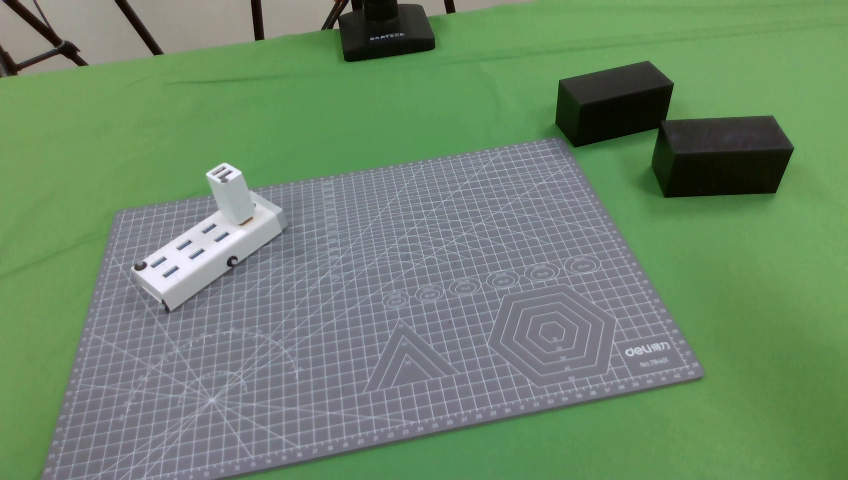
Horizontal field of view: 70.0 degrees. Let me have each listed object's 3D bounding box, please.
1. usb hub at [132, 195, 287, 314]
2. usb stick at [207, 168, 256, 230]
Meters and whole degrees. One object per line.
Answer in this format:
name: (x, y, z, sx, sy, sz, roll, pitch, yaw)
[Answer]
usb hub: (-0.184, 0.009, 0.527, 0.049, 0.025, 0.125, 28, 53, 31)
usb stick: (-0.163, -0.030, 0.520, 0.027, 0.060, 0.021, 24, 52, 32)
